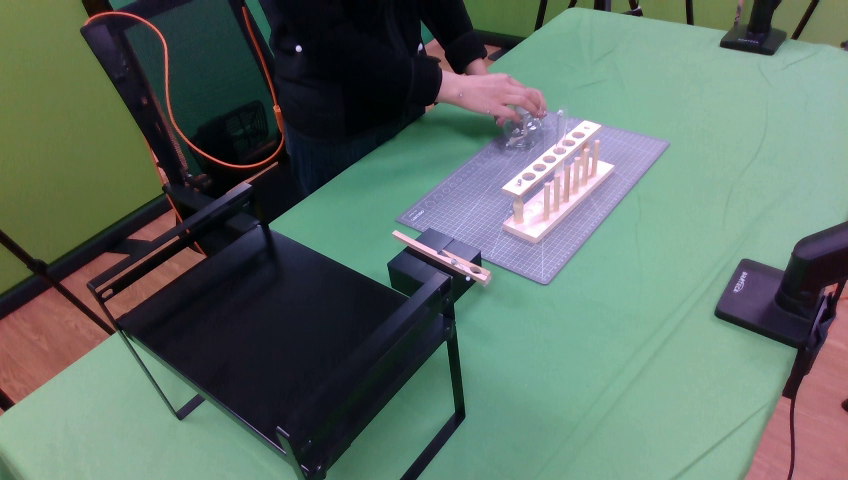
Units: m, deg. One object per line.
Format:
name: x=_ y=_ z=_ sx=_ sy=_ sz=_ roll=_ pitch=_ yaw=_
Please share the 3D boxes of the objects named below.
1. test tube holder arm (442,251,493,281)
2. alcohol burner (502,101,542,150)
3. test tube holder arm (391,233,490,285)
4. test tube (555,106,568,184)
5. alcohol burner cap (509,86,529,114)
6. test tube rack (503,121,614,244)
test tube holder arm: x=0.059 y=0.036 z=0.851 sx=0.087 sy=0.015 sz=0.010 roll=23 pitch=57 yaw=32
alcohol burner: x=0.186 y=-0.233 z=1.147 sx=0.078 sy=0.119 sz=0.077 roll=-5 pitch=42 yaw=5
test tube holder arm: x=0.020 y=0.025 z=0.872 sx=0.177 sy=0.015 sz=0.013 roll=22 pitch=56 yaw=31
test tube: x=0.224 y=-0.151 z=0.987 sx=0.017 sy=0.151 sz=0.017 roll=-4 pitch=43 yaw=5
alcohol burner cap: x=0.179 y=-0.262 z=1.122 sx=0.034 sy=0.048 sz=0.033 roll=6 pitch=34 yaw=-3
test tube rack: x=0.230 y=-0.101 z=1.006 sx=0.066 sy=0.085 sz=0.243 roll=26 pitch=50 yaw=35
